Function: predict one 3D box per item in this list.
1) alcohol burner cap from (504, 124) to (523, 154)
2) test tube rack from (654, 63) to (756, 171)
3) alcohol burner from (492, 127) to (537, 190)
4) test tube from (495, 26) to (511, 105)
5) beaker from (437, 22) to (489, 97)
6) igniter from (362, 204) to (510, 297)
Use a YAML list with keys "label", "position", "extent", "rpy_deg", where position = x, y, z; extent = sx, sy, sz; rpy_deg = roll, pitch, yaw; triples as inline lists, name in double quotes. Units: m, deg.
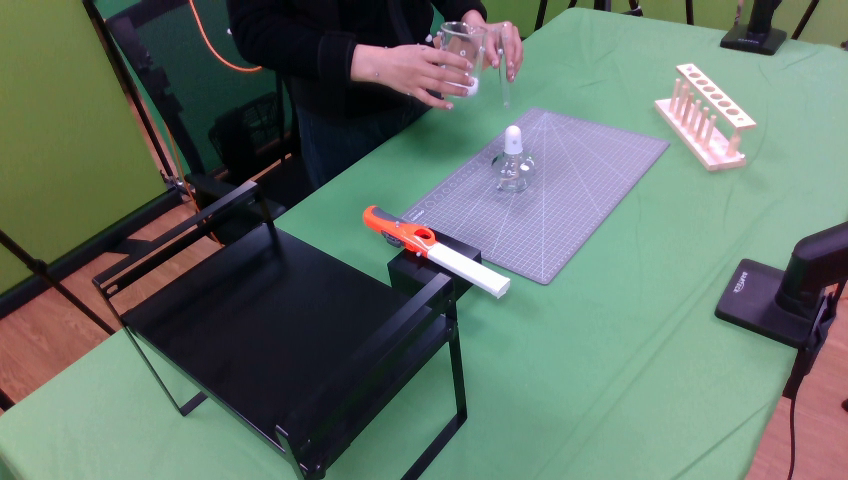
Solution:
- label: "alcohol burner cap"
  position: [0.151, -0.173, 1.023]
  extent: [0.034, 0.048, 0.033]
  rpy_deg: [-6, 37, 5]
- label: "test tube rack"
  position: [0.510, -0.233, 1.120]
  extent: [0.067, 0.085, 0.241]
  rpy_deg: [-8, 41, -1]
- label: "alcohol burner"
  position: [0.156, -0.146, 1.046]
  extent: [0.078, 0.119, 0.077]
  rpy_deg: [-4, 43, 4]
- label: "test tube"
  position: [0.142, -0.309, 1.081]
  extent: [0.017, 0.151, 0.017]
  rpy_deg: [-7, 43, 7]
- label: "beaker"
  position: [0.060, -0.286, 0.958]
  extent: [0.074, 0.100, 0.084]
  rpy_deg: [17, 34, 15]
- label: "igniter"
  position: [0.007, 0.009, 0.887]
  extent: [0.274, 0.025, 0.057]
  rpy_deg: [29, 50, 32]
